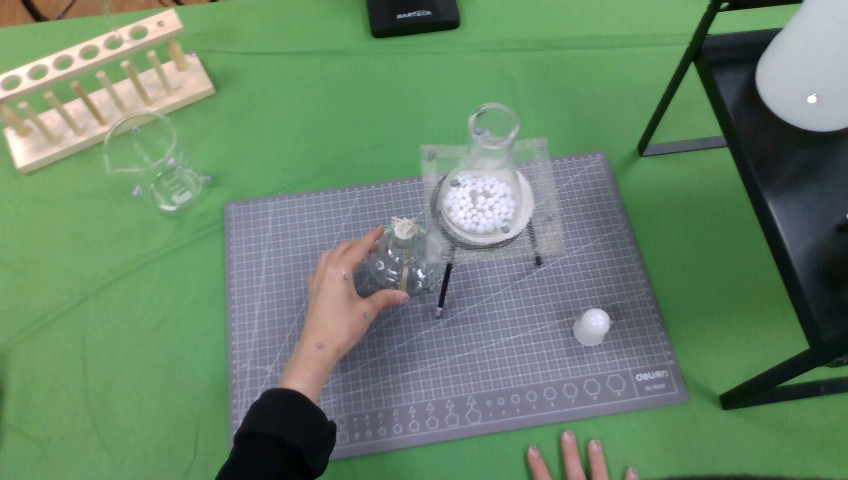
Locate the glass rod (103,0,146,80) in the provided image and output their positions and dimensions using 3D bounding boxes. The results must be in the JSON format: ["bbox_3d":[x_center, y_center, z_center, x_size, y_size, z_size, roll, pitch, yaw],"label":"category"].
[{"bbox_3d":[-0.341,-0.247,0.669,0.008,0.201,0.008,2,63,-4],"label":"glass rod"}]

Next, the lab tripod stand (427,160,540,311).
[{"bbox_3d":[0.053,-0.009,0.603,0.148,0.132,0.147,1,63,-1],"label":"lab tripod stand"}]

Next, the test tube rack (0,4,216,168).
[{"bbox_3d":[-0.383,-0.180,0.711,0.242,0.086,0.066,-27,68,-12],"label":"test tube rack"}]

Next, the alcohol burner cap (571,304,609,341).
[{"bbox_3d":[0.169,0.081,0.612,0.034,0.048,0.033,0,66,1],"label":"alcohol burner cap"}]

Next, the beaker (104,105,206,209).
[{"bbox_3d":[-0.289,-0.084,0.660,0.073,0.101,0.084,36,71,16],"label":"beaker"}]

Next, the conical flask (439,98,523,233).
[{"bbox_3d":[0.050,-0.062,0.489,0.075,0.123,0.074,0,65,0],"label":"conical flask"}]

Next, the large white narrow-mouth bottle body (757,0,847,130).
[{"bbox_3d":[0.341,-0.177,0.452,0.102,0.196,0.101,0,63,0],"label":"large white narrow-mouth bottle body"}]

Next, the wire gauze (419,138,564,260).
[{"bbox_3d":[0.059,-0.042,0.545,0.121,0.011,0.124,-2,63,-4],"label":"wire gauze"}]

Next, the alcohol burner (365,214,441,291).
[{"bbox_3d":[-0.021,0.006,0.607,0.078,0.120,0.077,1,64,-1],"label":"alcohol burner"}]
